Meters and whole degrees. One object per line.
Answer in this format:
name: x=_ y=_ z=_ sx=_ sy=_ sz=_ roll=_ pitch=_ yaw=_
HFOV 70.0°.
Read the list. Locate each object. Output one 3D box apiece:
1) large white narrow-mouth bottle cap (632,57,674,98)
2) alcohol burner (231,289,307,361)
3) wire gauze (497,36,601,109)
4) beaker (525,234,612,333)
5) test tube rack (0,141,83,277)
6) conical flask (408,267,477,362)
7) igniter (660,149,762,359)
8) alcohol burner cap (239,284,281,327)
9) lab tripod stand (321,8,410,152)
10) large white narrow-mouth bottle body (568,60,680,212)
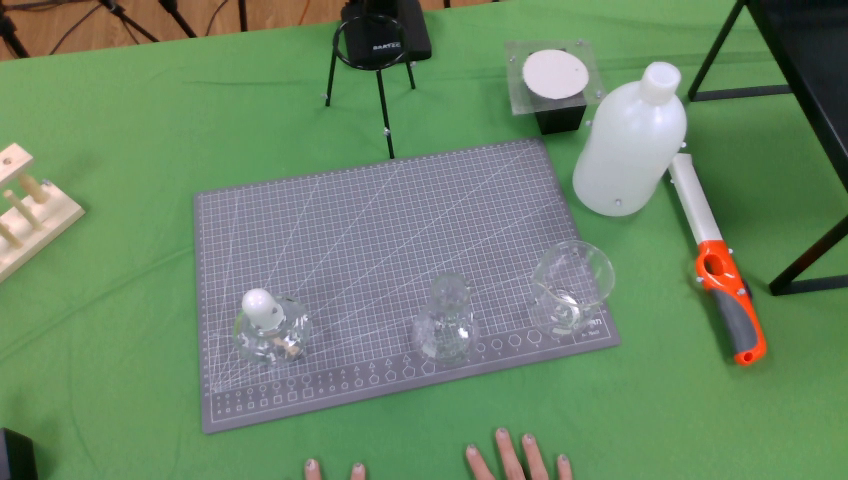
large white narrow-mouth bottle cap: x=0.230 y=-0.165 z=0.611 sx=0.038 sy=0.024 sz=0.037 roll=0 pitch=61 yaw=0
alcohol burner: x=-0.159 y=0.078 z=0.611 sx=0.078 sy=0.120 sz=0.077 roll=1 pitch=59 yaw=-2
wire gauze: x=0.161 y=-0.223 z=0.791 sx=0.121 sy=0.011 sz=0.124 roll=-4 pitch=61 yaw=-3
beaker: x=0.145 y=0.051 z=0.640 sx=0.084 sy=0.101 sz=0.073 roll=-6 pitch=61 yaw=-3
test tube rack: x=-0.513 y=0.009 z=0.661 sx=0.066 sy=0.086 sz=0.242 roll=34 pitch=66 yaw=16
conical flask: x=0.021 y=0.071 z=0.614 sx=0.075 sy=0.123 sz=0.074 roll=0 pitch=61 yaw=0
igniter: x=0.333 y=0.007 z=0.713 sx=0.057 sy=0.025 sz=0.274 roll=-1 pitch=61 yaw=-13
alcohol burner cap: x=-0.159 y=0.061 z=0.579 sx=0.034 sy=0.048 sz=0.033 roll=-2 pitch=62 yaw=4
lab tripod stand: x=-0.066 y=-0.205 z=0.761 sx=0.148 sy=0.132 sz=0.147 roll=1 pitch=62 yaw=-2
large white narrow-mouth bottle body: x=0.230 y=-0.121 z=0.686 sx=0.102 sy=0.196 sz=0.101 roll=0 pitch=61 yaw=0
